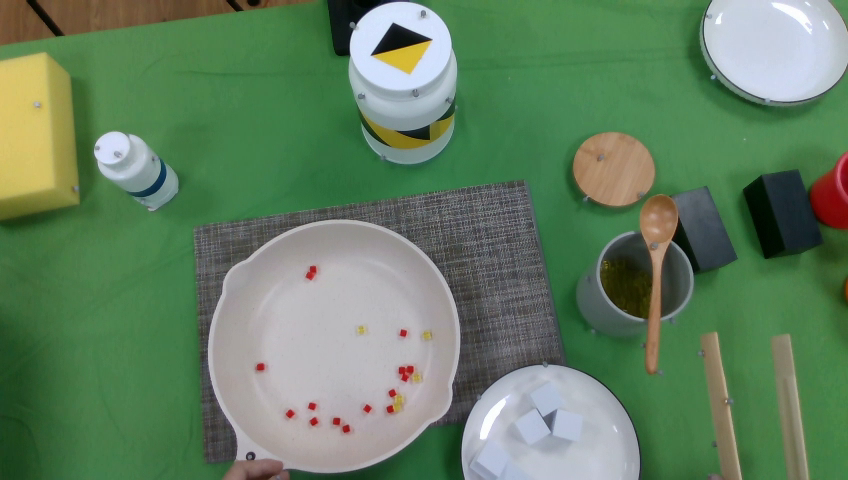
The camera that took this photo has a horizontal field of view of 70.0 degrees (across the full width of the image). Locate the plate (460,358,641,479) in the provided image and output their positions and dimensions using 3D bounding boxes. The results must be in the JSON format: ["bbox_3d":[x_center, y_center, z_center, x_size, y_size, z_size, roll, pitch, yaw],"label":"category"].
[{"bbox_3d":[0.146,0.245,0.713,0.208,0.039,0.206,0,76,0],"label":"plate"}]

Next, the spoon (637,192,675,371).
[{"bbox_3d":[0.246,0.043,0.653,0.041,0.022,0.193,8,78,-1],"label":"spoon"}]

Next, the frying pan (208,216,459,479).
[{"bbox_3d":[-0.160,0.197,0.692,0.306,0.103,0.486,31,69,10],"label":"frying pan"}]

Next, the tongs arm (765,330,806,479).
[{"bbox_3d":[0.391,0.288,0.643,0.028,0.027,0.385,12,72,-25],"label":"tongs arm"}]

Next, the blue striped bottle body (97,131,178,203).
[{"bbox_3d":[-0.367,-0.096,0.772,0.063,0.121,0.062,0,73,1],"label":"blue striped bottle body"}]

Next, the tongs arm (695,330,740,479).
[{"bbox_3d":[0.334,0.284,0.619,0.051,0.026,0.382,3,75,-24],"label":"tongs arm"}]

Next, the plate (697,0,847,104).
[{"bbox_3d":[0.491,-0.283,0.861,0.209,0.038,0.208,0,74,1],"label":"plate"}]

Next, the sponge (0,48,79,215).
[{"bbox_3d":[-0.549,-0.146,0.818,0.118,0.061,0.205,-13,75,-4],"label":"sponge"}]

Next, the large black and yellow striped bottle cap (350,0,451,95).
[{"bbox_3d":[-0.027,-0.219,0.684,0.115,0.019,0.114,0,75,1],"label":"large black and yellow striped bottle cap"}]

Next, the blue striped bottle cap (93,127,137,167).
[{"bbox_3d":[-0.369,-0.111,0.723,0.044,0.021,0.044,0,76,0],"label":"blue striped bottle cap"}]

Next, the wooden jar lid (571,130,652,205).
[{"bbox_3d":[0.252,-0.097,0.820,0.108,0.021,0.108,0,76,1],"label":"wooden jar lid"}]

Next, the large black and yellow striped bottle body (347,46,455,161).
[{"bbox_3d":[-0.026,-0.194,0.765,0.131,0.185,0.130,0,73,1],"label":"large black and yellow striped bottle body"}]

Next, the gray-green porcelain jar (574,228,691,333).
[{"bbox_3d":[0.240,0.054,0.722,0.106,0.127,0.105,0,74,1],"label":"gray-green porcelain jar"}]
